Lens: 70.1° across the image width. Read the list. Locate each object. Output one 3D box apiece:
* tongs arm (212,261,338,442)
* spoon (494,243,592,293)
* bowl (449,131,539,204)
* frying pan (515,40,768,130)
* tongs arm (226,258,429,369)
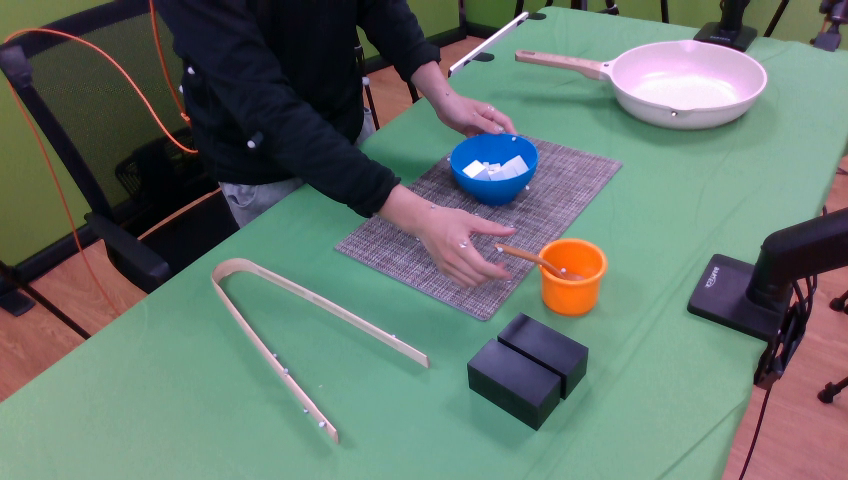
[{"bbox_3d":[-0.208,0.136,0.830,0.051,0.026,0.381,-31,45,-28],"label":"tongs arm"},{"bbox_3d":[0.162,0.034,0.808,0.021,0.195,0.041,-47,40,21],"label":"spoon"},{"bbox_3d":[0.121,-0.114,1.034,0.151,0.077,0.150,-4,41,4],"label":"bowl"},{"bbox_3d":[0.423,-0.338,1.236,0.486,0.103,0.307,16,44,13],"label":"frying pan"},{"bbox_3d":[-0.150,0.098,0.873,0.384,0.028,0.028,22,50,30],"label":"tongs arm"}]
